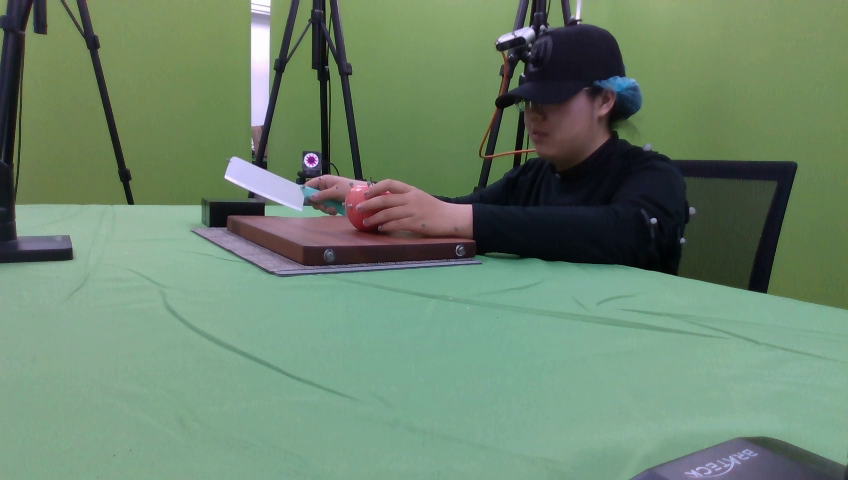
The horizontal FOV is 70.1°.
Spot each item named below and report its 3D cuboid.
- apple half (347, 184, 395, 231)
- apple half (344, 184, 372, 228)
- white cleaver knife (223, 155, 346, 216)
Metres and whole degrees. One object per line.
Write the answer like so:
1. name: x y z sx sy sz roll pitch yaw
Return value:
1. apple half: -0.076 -0.050 0.953 0.053 0.074 0.081 14 9 35
2. apple half: -0.107 -0.056 0.976 0.032 0.081 0.082 14 13 35
3. white cleaver knife: -0.264 -0.092 1.213 0.288 0.066 0.021 22 -29 -33
